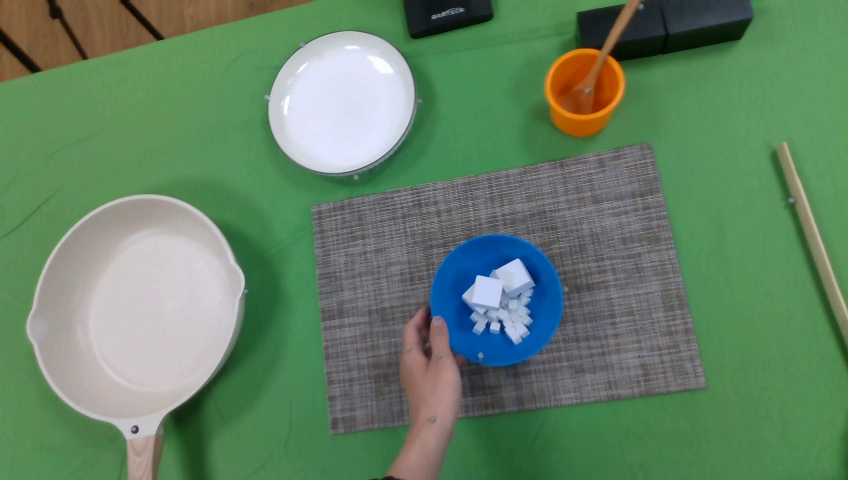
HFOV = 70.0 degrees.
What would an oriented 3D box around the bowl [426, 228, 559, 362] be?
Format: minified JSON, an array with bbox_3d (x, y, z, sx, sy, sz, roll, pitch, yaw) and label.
[{"bbox_3d":[0.082,0.068,0.712,0.151,0.077,0.150,-2,79,10],"label":"bowl"}]

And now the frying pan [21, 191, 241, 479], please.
[{"bbox_3d":[-0.356,0.178,0.759,0.306,0.103,0.484,-12,68,8],"label":"frying pan"}]

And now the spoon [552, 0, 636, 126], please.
[{"bbox_3d":[0.207,-0.220,0.717,0.041,0.195,0.021,41,43,18],"label":"spoon"}]

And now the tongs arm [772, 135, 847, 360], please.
[{"bbox_3d":[0.464,0.060,0.675,0.028,0.028,0.385,-15,77,4],"label":"tongs arm"}]

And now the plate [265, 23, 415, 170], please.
[{"bbox_3d":[-0.111,-0.191,0.825,0.207,0.039,0.206,-2,78,10],"label":"plate"}]
